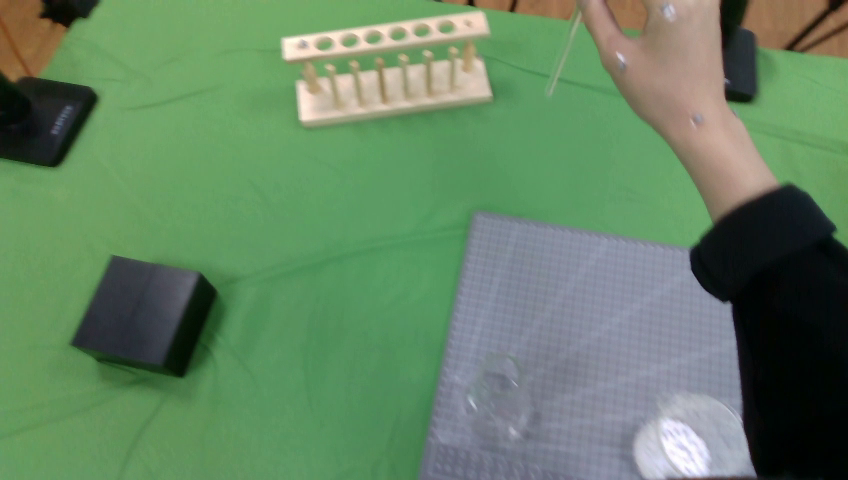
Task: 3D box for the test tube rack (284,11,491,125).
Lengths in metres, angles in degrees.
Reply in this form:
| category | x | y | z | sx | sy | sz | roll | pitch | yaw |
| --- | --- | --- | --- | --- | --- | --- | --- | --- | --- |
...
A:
| category | x | y | z | sx | sy | sz | roll | pitch | yaw |
| --- | --- | --- | --- | --- | --- | --- | --- | --- | --- |
| test tube rack | -0.041 | -0.210 | 0.746 | 0.242 | 0.086 | 0.066 | -9 | 64 | -2 |

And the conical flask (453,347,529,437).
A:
| category | x | y | z | sx | sy | sz | roll | pitch | yaw |
| --- | --- | --- | --- | --- | --- | --- | --- | --- | --- |
| conical flask | 0.063 | 0.132 | 0.550 | 0.075 | 0.123 | 0.074 | -1 | 63 | 2 |

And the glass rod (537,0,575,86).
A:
| category | x | y | z | sx | sy | sz | roll | pitch | yaw |
| --- | --- | --- | --- | --- | --- | --- | --- | --- | --- |
| glass rod | 0.101 | -0.162 | 0.436 | 0.008 | 0.200 | 0.008 | 0 | 76 | 1 |

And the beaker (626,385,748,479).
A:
| category | x | y | z | sx | sy | sz | roll | pitch | yaw |
| --- | --- | --- | --- | --- | --- | --- | --- | --- | --- |
| beaker | 0.223 | 0.174 | 0.536 | 0.074 | 0.101 | 0.083 | -37 | 67 | -15 |
